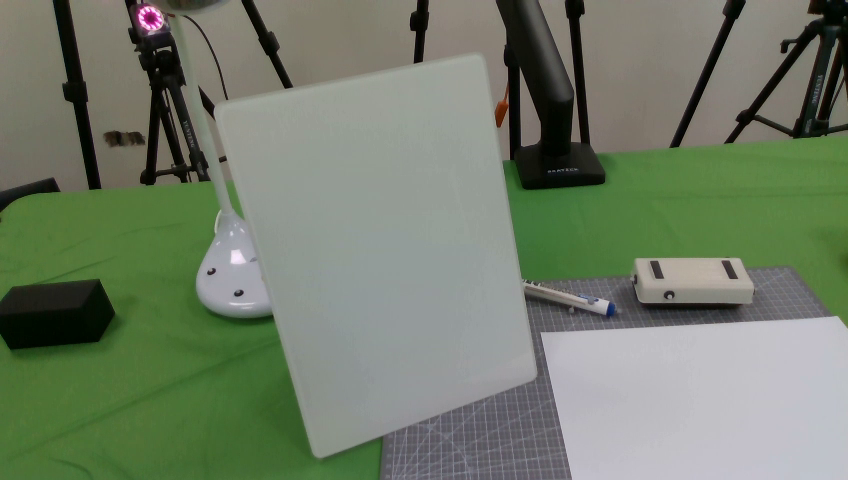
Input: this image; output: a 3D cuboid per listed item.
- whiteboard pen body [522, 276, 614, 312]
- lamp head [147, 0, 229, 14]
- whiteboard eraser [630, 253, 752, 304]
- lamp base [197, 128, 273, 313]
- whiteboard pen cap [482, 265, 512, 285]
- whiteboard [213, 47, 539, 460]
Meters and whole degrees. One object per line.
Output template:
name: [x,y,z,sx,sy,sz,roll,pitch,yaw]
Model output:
whiteboard pen body: [0.136,0.054,0.660,0.140,0.017,0.017,14,38,21]
lamp head: [-0.213,-0.266,0.502,0.112,0.113,0.122,-27,64,-28]
whiteboard eraser: [0.280,0.042,0.641,0.112,0.042,0.055,-1,33,7]
lamp base: [-0.209,-0.033,0.701,0.177,0.182,0.160,22,42,38]
whiteboard pen cap: [0.083,0.040,0.682,0.033,0.018,0.018,14,38,19]
whiteboard: [-0.041,0.002,0.565,0.217,0.307,0.143,-16,16,-14]
